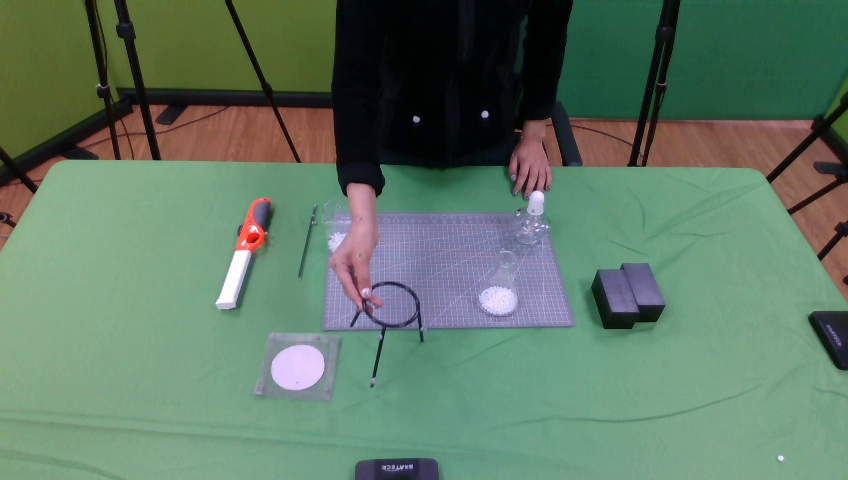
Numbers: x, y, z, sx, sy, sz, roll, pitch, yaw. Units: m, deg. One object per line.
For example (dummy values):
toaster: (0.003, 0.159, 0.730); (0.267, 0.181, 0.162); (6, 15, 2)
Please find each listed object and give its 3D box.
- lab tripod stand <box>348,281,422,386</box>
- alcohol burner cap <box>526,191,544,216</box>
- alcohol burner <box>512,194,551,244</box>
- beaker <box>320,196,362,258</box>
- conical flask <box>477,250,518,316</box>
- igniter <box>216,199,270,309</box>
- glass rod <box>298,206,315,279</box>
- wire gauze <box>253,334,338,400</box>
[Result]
lab tripod stand: (-0.059, 0.138, 0.969); (0.148, 0.132, 0.147); (8, 43, -7)
alcohol burner cap: (0.216, -0.073, 1.170); (0.034, 0.048, 0.033); (-1, 42, 1)
alcohol burner: (0.215, -0.048, 1.196); (0.078, 0.119, 0.077); (4, 46, -4)
beaker: (-0.156, -0.020, 1.150); (0.084, 0.101, 0.073); (-30, 55, -28)
conical flask: (0.137, 0.072, 1.067); (0.075, 0.122, 0.075); (2, 46, -2)
igniter: (-0.341, 0.016, 1.153); (0.057, 0.025, 0.275); (-4, 45, 7)
glass rod: (-0.231, 0.000, 1.191); (0.008, 0.008, 0.198); (2, 46, -1)
wire gauze: (-0.209, 0.204, 0.995); (0.125, 0.011, 0.120); (3, 45, 1)
